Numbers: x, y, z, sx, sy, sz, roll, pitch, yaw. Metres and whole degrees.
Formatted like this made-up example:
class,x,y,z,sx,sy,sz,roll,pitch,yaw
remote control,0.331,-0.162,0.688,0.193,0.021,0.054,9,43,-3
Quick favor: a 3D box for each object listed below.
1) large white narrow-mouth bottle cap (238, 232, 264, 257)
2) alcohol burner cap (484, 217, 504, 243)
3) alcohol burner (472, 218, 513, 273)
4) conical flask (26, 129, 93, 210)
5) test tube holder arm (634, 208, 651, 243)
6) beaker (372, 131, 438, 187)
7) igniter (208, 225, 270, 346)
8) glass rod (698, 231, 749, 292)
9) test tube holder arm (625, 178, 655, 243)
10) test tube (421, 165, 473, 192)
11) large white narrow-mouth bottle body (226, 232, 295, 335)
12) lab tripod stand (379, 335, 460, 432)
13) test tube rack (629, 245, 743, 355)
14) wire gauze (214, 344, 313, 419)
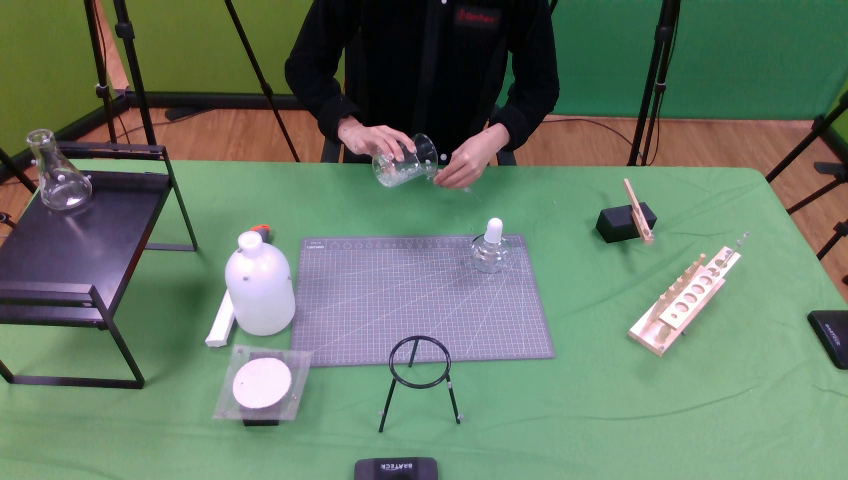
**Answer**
class,x,y,z,sx,sy,sz,roll,pitch,yaw
large white narrow-mouth bottle cap,-0.266,0.007,0.933,0.038,0.024,0.037,2,46,-2
alcohol burner cap,0.129,-0.021,1.107,0.034,0.048,0.033,4,41,-3
alcohol burner,0.128,0.005,1.132,0.078,0.120,0.077,0,47,0
conical flask,-0.575,-0.113,0.946,0.075,0.122,0.075,2,46,-2
test tube holder arm,0.428,-0.030,1.189,0.010,0.015,0.087,1,47,-2
beaker,-0.036,-0.140,1.088,0.100,0.084,0.073,-27,54,-27
igniter,-0.331,0.072,1.099,0.057,0.025,0.275,-4,45,10
glass rod,0.515,0.044,1.051,0.008,0.200,0.008,1,55,-1
test tube holder arm,0.433,-0.062,1.220,0.013,0.015,0.177,1,47,-3
test tube,0.048,-0.119,1.189,0.151,0.017,0.017,17,29,-47
large white narrow-mouth bottle body,-0.270,0.065,0.995,0.102,0.195,0.101,2,46,-2
lab tripod stand,-0.011,0.214,0.911,0.148,0.132,0.147,1,45,0
test tube rack,0.474,0.095,1.091,0.242,0.085,0.066,-34,56,-31
wire gauze,-0.241,0.213,0.915,0.121,0.011,0.124,5,46,1
